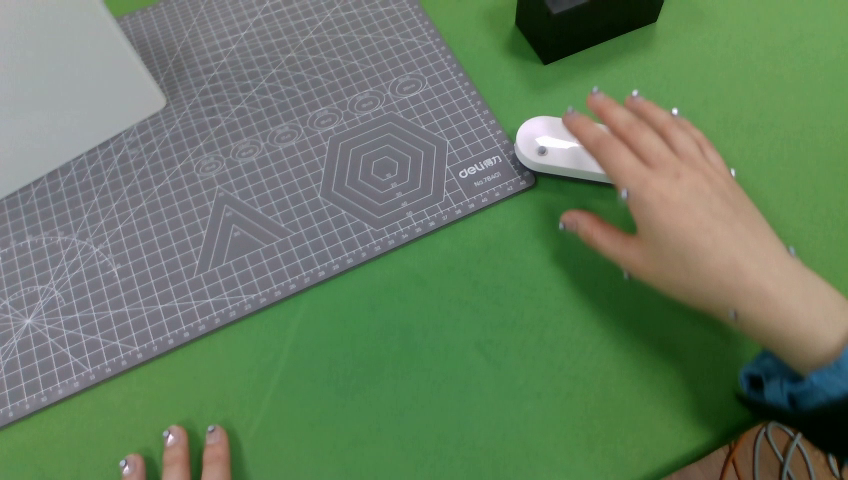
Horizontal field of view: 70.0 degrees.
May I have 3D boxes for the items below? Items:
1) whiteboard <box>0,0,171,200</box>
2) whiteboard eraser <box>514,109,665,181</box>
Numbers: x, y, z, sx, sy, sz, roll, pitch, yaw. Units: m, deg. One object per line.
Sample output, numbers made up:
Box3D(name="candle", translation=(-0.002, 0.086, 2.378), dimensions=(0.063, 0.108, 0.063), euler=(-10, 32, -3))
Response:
Box3D(name="whiteboard", translation=(-0.348, -0.180, 0.366), dimensions=(0.217, 0.309, 0.142), euler=(-34, 48, -12))
Box3D(name="whiteboard eraser", translation=(0.113, -0.066, 0.417), dimensions=(0.101, 0.019, 0.041), euler=(10, 65, 7))
